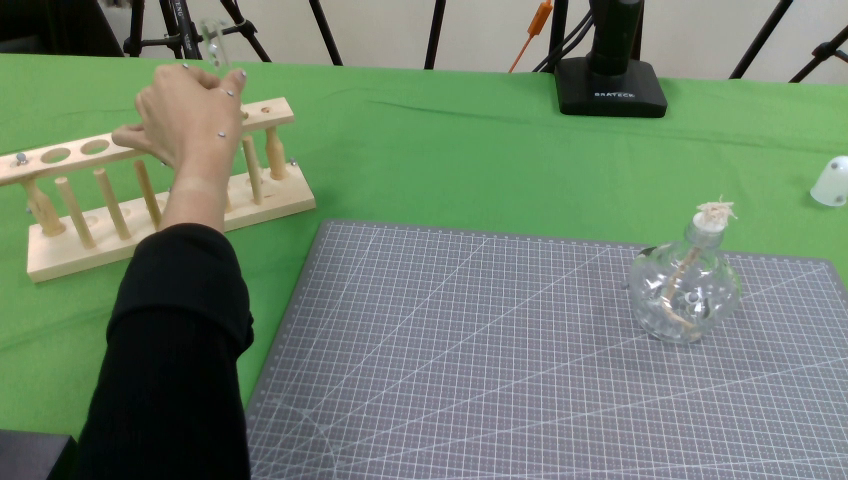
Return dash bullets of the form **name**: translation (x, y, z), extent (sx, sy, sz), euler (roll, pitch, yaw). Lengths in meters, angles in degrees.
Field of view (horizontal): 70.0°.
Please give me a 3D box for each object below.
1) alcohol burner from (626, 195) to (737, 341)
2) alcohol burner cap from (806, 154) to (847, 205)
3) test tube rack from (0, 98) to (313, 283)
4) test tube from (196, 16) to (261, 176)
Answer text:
- **alcohol burner**: translation (0.191, 0.017, 0.439), extent (0.078, 0.120, 0.077), euler (1, 41, 0)
- **alcohol burner cap**: translation (0.393, -0.060, 0.579), extent (0.034, 0.048, 0.033), euler (-1, 43, 2)
- **test tube rack**: translation (-0.229, -0.048, 0.534), extent (0.243, 0.086, 0.066), euler (-17, 45, -18)
- **test tube**: translation (-0.169, -0.119, 0.532), extent (0.017, 0.151, 0.017), euler (-4, 40, 3)
